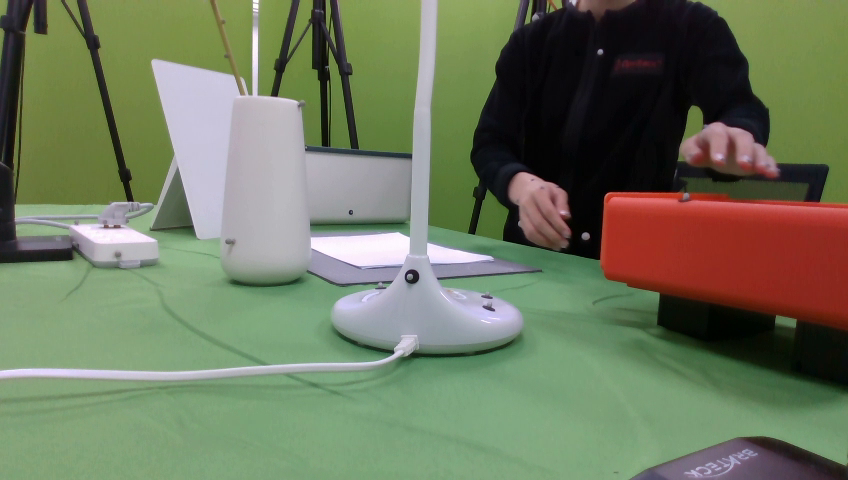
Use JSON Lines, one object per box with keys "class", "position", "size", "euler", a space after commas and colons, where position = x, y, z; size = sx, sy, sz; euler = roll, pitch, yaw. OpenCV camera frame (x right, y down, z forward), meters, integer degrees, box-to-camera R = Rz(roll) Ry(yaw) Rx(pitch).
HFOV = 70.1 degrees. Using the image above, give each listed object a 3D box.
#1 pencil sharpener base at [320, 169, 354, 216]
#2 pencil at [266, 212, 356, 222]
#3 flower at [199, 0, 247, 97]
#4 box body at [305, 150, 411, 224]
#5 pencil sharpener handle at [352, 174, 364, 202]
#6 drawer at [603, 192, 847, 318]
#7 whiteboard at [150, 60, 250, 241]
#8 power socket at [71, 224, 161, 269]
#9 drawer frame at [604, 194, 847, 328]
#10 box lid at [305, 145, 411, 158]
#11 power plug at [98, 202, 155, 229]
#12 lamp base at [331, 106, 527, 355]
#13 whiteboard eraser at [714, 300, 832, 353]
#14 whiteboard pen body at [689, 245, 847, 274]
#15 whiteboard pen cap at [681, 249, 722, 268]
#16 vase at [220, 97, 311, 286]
{"class": "pencil sharpener base", "position": [-0.207, -0.113, 1.438], "size": [0.077, 0.107, 0.061], "euler": [2, 6, -11]}
{"class": "pencil", "position": [-0.244, -0.049, 1.319], "size": [0.195, 0.012, 0.012], "euler": [4, 7, -12]}
{"class": "flower", "position": [-0.187, -0.133, 0.648], "size": [0.038, 0.362, 0.044], "euler": [-1, 21, 42]}
{"class": "box body", "position": [-0.230, -0.126, 1.371], "size": [0.366, 0.160, 0.253], "euler": [-2, 8, -33]}
{"class": "pencil sharpener handle", "position": [-0.157, -0.125, 1.450], "size": [0.031, 0.068, 0.036], "euler": [2, 19, -11]}
{"class": "drawer", "position": [0.293, 0.003, 0.500], "size": [0.195, 0.073, 0.210], "euler": [-1, 8, -34]}
{"class": "whiteboard", "position": [-0.408, -0.139, 1.093], "size": [0.143, 0.305, 0.218], "euler": [-15, -1, 26]}
{"class": "power socket", "position": [-0.408, 0.004, 0.793], "size": [0.072, 0.032, 0.225], "euler": [-2, 8, -38]}
{"class": "drawer frame", "position": [0.297, 0.007, 0.497], "size": [0.203, 0.082, 0.212], "euler": [-1, 7, -34]}
{"class": "box lid", "position": [-0.228, -0.200, 1.361], "size": [0.373, 0.015, 0.262], "euler": [-1, 8, -33]}
{"class": "power plug", "position": [-0.416, -0.027, 0.848], "size": [0.073, 0.052, 0.035], "euler": [0, 8, -28]}
{"class": "lamp base", "position": [0.006, -0.012, 0.478], "size": [0.161, 0.180, 0.179], "euler": [2, 10, 2]}
{"class": "whiteboard eraser", "position": [0.255, 0.042, 0.472], "size": [0.112, 0.042, 0.056], "euler": [44, 20, 31]}
{"class": "whiteboard pen body", "position": [0.303, 0.016, 0.519], "size": [0.140, 0.017, 0.017], "euler": [6, 8, 24]}
{"class": "whiteboard pen cap", "position": [0.250, 0.017, 0.544], "size": [0.033, 0.018, 0.018], "euler": [3, 7, 25]}
{"class": "vase", "position": [-0.172, -0.052, 0.662], "size": [0.098, 0.200, 0.098], "euler": [3, 8, 0]}
